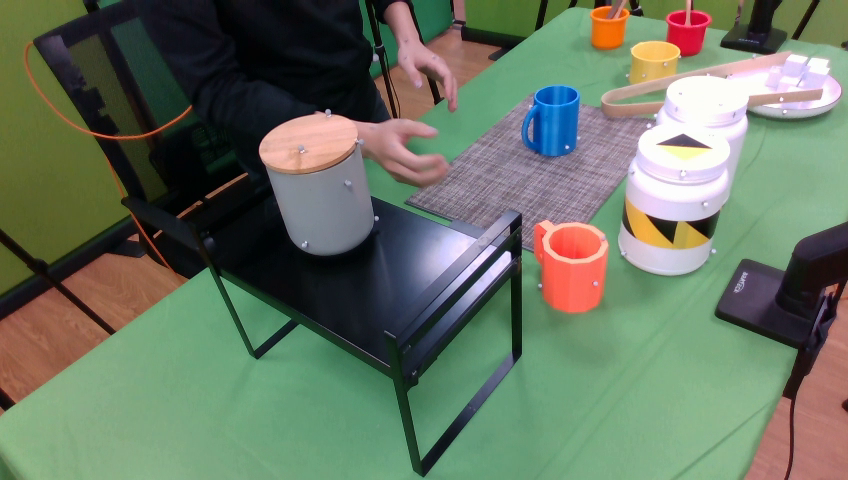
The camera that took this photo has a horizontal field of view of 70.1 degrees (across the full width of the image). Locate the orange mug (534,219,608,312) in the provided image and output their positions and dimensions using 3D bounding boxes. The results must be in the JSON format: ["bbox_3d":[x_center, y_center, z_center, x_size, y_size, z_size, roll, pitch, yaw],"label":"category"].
[{"bbox_3d":[0.200,0.027,0.858,0.084,0.101,0.125,-24,47,-18],"label":"orange mug"}]

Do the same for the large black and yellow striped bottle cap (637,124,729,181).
[{"bbox_3d":[0.346,-0.119,0.810,0.115,0.019,0.114,-5,41,5],"label":"large black and yellow striped bottle cap"}]

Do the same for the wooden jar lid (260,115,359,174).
[{"bbox_3d":[-0.124,-0.101,0.662,0.108,0.021,0.108,-4,41,4],"label":"wooden jar lid"}]

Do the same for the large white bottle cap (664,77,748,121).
[{"bbox_3d":[0.421,-0.212,0.905,0.115,0.018,0.114,-4,40,4],"label":"large white bottle cap"}]

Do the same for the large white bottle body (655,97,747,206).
[{"bbox_3d":[0.430,-0.148,0.959,0.130,0.185,0.130,-4,41,4],"label":"large white bottle body"}]

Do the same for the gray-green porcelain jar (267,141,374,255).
[{"bbox_3d":[-0.117,-0.054,0.703,0.106,0.127,0.105,-4,40,4],"label":"gray-green porcelain jar"}]

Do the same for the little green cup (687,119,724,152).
[{"bbox_3d":[0.514,-0.191,1.109,0.061,0.039,0.061,-5,40,5],"label":"little green cup"}]

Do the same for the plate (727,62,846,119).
[{"bbox_3d":[0.710,-0.292,1.198,0.207,0.039,0.206,-4,40,4],"label":"plate"}]

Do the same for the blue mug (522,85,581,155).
[{"bbox_3d":[0.233,-0.218,1.127,0.117,0.106,0.081,-23,43,-16],"label":"blue mug"}]

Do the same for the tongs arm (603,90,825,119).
[{"bbox_3d":[0.546,-0.262,1.163,0.386,0.028,0.028,-1,49,18],"label":"tongs arm"}]

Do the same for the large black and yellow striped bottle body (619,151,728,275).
[{"bbox_3d":[0.354,-0.056,0.865,0.131,0.185,0.130,-4,41,4],"label":"large black and yellow striped bottle body"}]

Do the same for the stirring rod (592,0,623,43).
[{"bbox_3d":[0.460,-0.557,1.461,0.014,0.176,0.006,35,11,22],"label":"stirring rod"}]

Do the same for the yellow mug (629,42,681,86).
[{"bbox_3d":[0.495,-0.389,1.321,0.100,0.064,0.130,-14,40,-6],"label":"yellow mug"}]

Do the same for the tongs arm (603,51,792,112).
[{"bbox_3d":[0.552,-0.320,1.224,0.384,0.027,0.050,-11,44,7],"label":"tongs arm"}]

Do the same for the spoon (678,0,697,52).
[{"bbox_3d":[0.614,-0.526,1.402,0.041,0.022,0.193,3,86,11],"label":"spoon"}]

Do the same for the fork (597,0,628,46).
[{"bbox_3d":[0.479,-0.558,1.455,0.028,0.019,0.207,35,100,38],"label":"fork"}]
